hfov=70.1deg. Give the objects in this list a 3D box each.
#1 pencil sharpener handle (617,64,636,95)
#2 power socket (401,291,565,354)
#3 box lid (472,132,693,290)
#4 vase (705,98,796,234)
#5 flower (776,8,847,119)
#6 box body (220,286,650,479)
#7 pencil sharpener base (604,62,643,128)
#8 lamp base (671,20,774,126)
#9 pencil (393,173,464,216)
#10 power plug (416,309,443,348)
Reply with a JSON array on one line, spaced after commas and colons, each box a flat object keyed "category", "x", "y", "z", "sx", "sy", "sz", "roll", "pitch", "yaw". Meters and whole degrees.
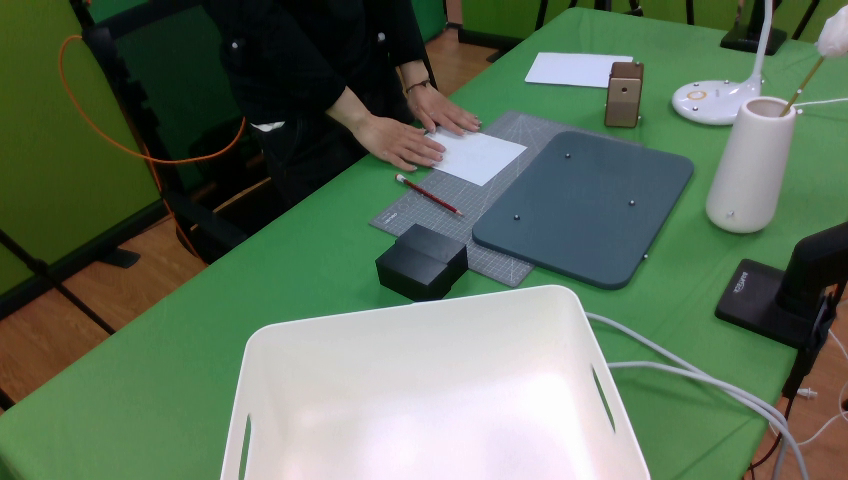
[{"category": "pencil sharpener handle", "x": 0.401, "y": -0.327, "z": 1.211, "sx": 0.036, "sy": 0.068, "sz": 0.030, "roll": 16, "pitch": 44, "yaw": 8}, {"category": "power socket", "x": 0.080, "y": 0.111, "z": 0.823, "sx": 0.227, "sy": 0.033, "sz": 0.072, "roll": -5, "pitch": 41, "yaw": 1}, {"category": "box lid", "x": 0.273, "y": -0.068, "z": 1.020, "sx": 0.261, "sy": 0.015, "sz": 0.372, "roll": 20, "pitch": 47, "yaw": 28}, {"category": "vase", "x": 0.480, "y": -0.104, "z": 0.889, "sx": 0.098, "sy": 0.201, "sz": 0.097, "roll": -4, "pitch": 42, "yaw": 4}, {"category": "flower", "x": 0.476, "y": -0.156, "z": 0.822, "sx": 0.038, "sy": 0.362, "sz": 0.044, "roll": 8, "pitch": 58, "yaw": 2}, {"category": "box body", "x": 0.006, "y": 0.210, "z": 0.618, "sx": 0.364, "sy": 0.161, "sz": 0.252, "roll": -8, "pitch": 40, "yaw": -1}, {"category": "pencil sharpener base", "x": 0.390, "y": -0.284, "z": 1.182, "sx": 0.061, "sy": 0.107, "sz": 0.076, "roll": 7, "pitch": 42, "yaw": 17}, {"category": "lamp base", "x": 0.581, "y": -0.332, "z": 1.154, "sx": 0.179, "sy": 0.181, "sz": 0.160, "roll": 2, "pitch": 41, "yaw": 7}, {"category": "pencil", "x": 0.006, "y": -0.082, "z": 1.071, "sx": 0.012, "sy": 0.012, "sz": 0.192, "roll": -32, "pitch": 45, "yaw": -26}, {"category": "power plug", "x": 0.004, "y": 0.121, "z": 0.787, "sx": 0.035, "sy": 0.053, "sz": 0.072, "roll": 2, "pitch": 46, "yaw": 8}]
